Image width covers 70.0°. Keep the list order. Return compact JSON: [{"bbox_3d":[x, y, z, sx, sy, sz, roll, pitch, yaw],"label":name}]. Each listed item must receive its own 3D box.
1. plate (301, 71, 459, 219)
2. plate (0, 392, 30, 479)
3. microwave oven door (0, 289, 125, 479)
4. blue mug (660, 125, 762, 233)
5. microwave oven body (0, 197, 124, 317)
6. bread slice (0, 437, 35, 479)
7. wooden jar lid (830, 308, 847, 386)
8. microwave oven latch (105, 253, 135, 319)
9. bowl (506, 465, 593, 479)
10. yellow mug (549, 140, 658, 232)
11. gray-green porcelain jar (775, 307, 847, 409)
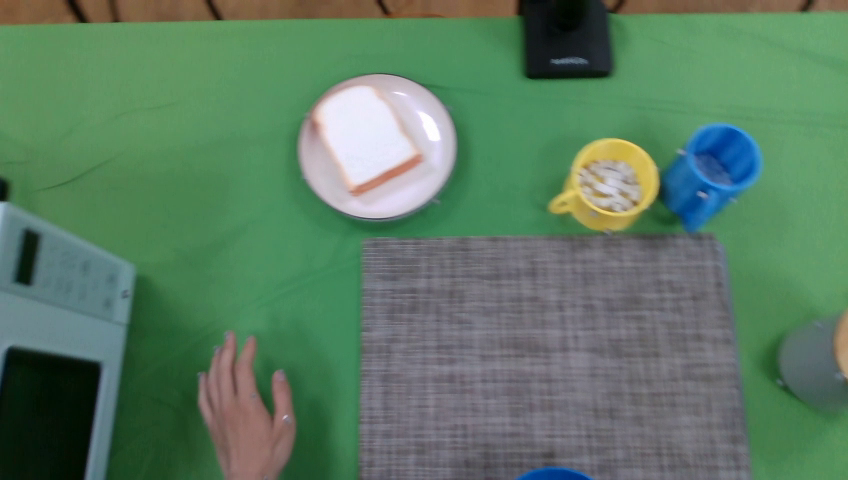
[{"bbox_3d":[-0.057,-0.123,0.803,0.207,0.039,0.206,-1,74,3],"label":"plate"},{"bbox_3d":[-0.525,0.249,0.649,0.209,0.038,0.208,0,76,-1],"label":"plate"},{"bbox_3d":[-0.397,0.239,0.591,0.039,0.245,0.353,1,74,3],"label":"microwave oven door"},{"bbox_3d":[0.339,-0.064,0.733,0.082,0.106,0.116,20,76,9],"label":"blue mug"},{"bbox_3d":[-0.540,0.196,0.615,0.326,0.261,0.439,1,75,3],"label":"microwave oven body"},{"bbox_3d":[-0.521,0.271,0.668,0.104,0.019,0.131,21,52,7],"label":"bread slice"},{"bbox_3d":[0.456,0.112,0.601,0.108,0.021,0.108,0,77,1],"label":"wooden jar lid"},{"bbox_3d":[-0.380,0.056,0.747,0.030,0.029,0.079,5,75,4],"label":"microwave oven latch"},{"bbox_3d":[0.134,0.317,0.650,0.151,0.077,0.150,-1,74,3],"label":"bowl"},{"bbox_3d":[0.219,-0.060,0.758,0.131,0.064,0.099,-21,73,-2],"label":"yellow mug"},{"bbox_3d":[0.460,0.130,0.662,0.106,0.127,0.105,-1,74,2],"label":"gray-green porcelain jar"}]
